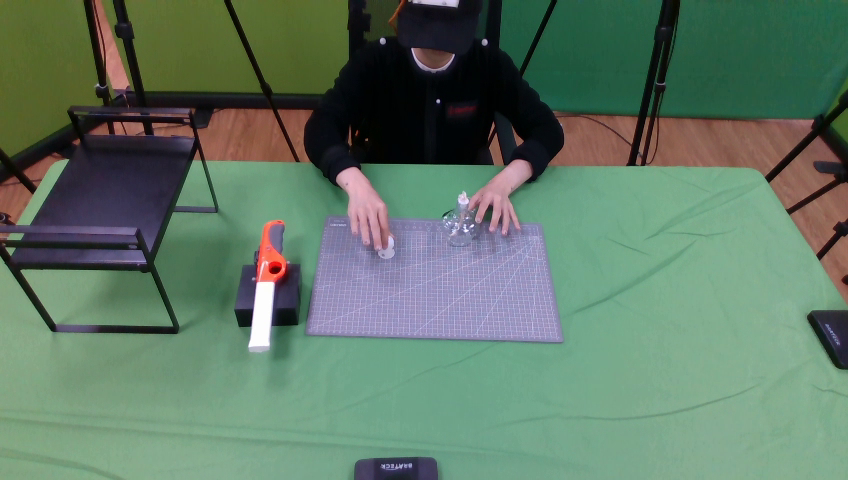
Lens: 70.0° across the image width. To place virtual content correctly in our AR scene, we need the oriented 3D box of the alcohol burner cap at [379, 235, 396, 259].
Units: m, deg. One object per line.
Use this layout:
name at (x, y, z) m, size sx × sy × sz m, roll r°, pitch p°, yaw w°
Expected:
alcohol burner cap at (-0.071, 0.011, 1.160) m, size 0.034 × 0.048 × 0.033 m, roll 1°, pitch 50°, yaw -1°

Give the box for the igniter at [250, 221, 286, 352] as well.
igniter at (-0.269, 0.068, 1.042) m, size 0.057 × 0.025 × 0.274 m, roll 0°, pitch 48°, yaw -7°

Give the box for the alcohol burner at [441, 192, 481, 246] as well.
alcohol burner at (0.073, -0.046, 1.176) m, size 0.078 × 0.119 × 0.077 m, roll 2°, pitch 44°, yaw -2°
